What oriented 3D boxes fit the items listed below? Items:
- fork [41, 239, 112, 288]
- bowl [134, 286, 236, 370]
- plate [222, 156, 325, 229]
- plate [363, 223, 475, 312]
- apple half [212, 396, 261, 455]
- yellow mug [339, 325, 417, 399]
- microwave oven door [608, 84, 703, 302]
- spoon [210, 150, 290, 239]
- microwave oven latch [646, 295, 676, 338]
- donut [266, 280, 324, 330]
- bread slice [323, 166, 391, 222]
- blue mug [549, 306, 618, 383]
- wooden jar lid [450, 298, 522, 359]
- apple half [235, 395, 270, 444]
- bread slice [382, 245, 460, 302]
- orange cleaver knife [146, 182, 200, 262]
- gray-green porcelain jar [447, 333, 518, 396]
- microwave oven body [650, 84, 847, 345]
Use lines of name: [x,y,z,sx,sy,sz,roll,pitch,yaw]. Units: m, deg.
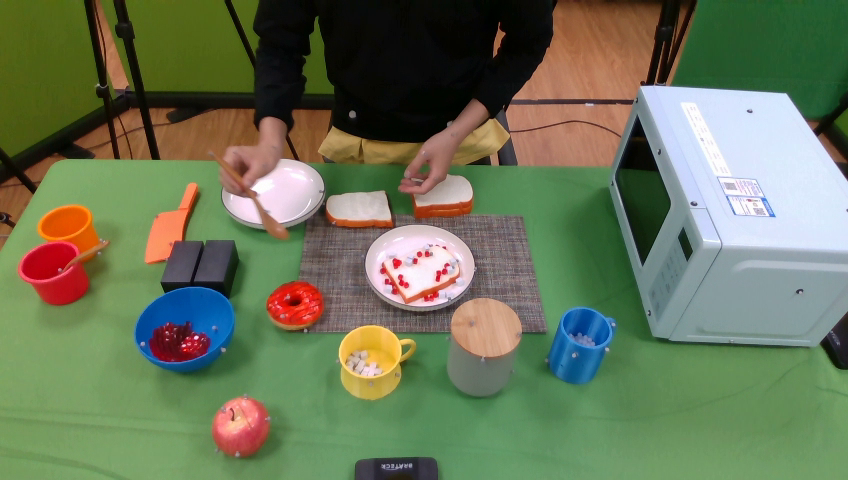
fork: [-0.591,0.040,1.028,0.207,0.019,0.028,-27,36,29]
bowl: [-0.377,0.156,0.981,0.151,0.077,0.150,2,46,-2]
plate: [-0.308,-0.095,1.251,0.209,0.038,0.208,3,46,-3]
plate: [-0.009,0.054,1.126,0.208,0.039,0.206,2,46,-2]
apple half: [-0.276,0.276,0.877,0.053,0.075,0.080,-29,58,-21]
yellow mug: [-0.072,0.191,0.978,0.131,0.064,0.099,-17,50,-20]
microwave oven door: [0.424,-0.096,1.138,0.039,0.245,0.353,2,47,-1]
spoon: [-0.286,-0.075,1.006,0.021,0.195,0.041,-22,31,16]
microwave oven latch: [0.413,0.133,1.061,0.030,0.029,0.078,4,46,1]
donut: [-0.223,0.112,1.051,0.099,0.048,0.098,2,45,-2]
bread slice: [-0.140,-0.092,1.225,0.134,0.018,0.106,-19,50,4]
blue mug: [0.269,0.167,0.997,0.116,0.106,0.082,-19,51,-21]
wooden jar lid: [0.093,0.135,0.914,0.108,0.021,0.107,3,48,-3]
apple half: [-0.245,0.260,0.893,0.033,0.082,0.081,-29,55,-22]
bread slice: [0.000,0.054,1.129,0.132,0.019,0.104,-20,51,-22]
orange cleaver knife: [-0.494,-0.039,1.199,0.077,0.012,0.210,-3,48,1]
gray-green porcelain jar: [0.091,0.178,0.960,0.106,0.127,0.105,2,46,-2]
microwave oven body: [0.569,-0.054,1.116,0.326,0.261,0.439,2,46,-1]
